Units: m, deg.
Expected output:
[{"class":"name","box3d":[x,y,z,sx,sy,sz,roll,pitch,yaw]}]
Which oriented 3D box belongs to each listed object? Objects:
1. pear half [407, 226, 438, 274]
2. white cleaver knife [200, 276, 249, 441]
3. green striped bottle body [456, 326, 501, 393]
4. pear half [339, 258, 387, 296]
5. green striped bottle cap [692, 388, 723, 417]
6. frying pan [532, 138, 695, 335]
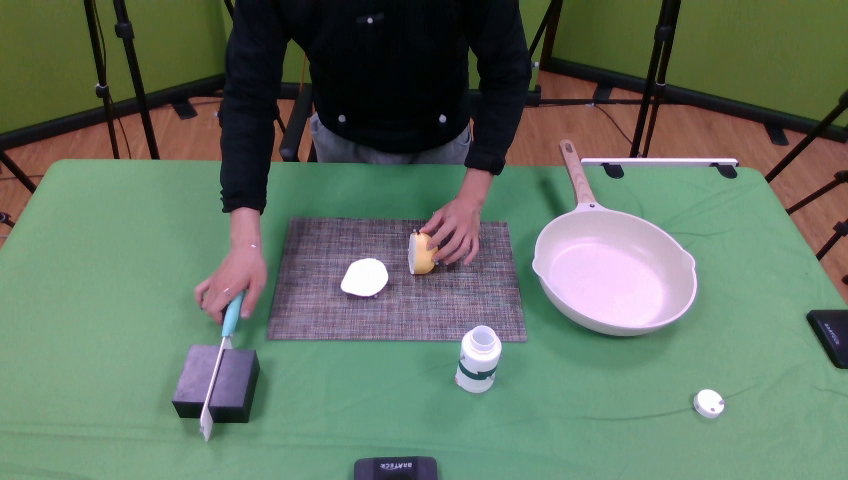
[{"class":"pear half","box3d":[-0.001,0.012,1.120,0.056,0.110,0.076,-8,52,-13]},{"class":"white cleaver knife","box3d":[-0.321,0.177,0.972,0.021,0.066,0.284,7,48,-5]},{"class":"green striped bottle body","box3d":[0.086,0.186,0.959,0.063,0.120,0.063,2,47,-2]},{"class":"pear half","box3d":[-0.112,0.073,1.106,0.088,0.031,0.070,-25,68,-11]},{"class":"green striped bottle cap","box3d":[0.460,0.263,0.984,0.044,0.020,0.044,3,46,-3]},{"class":"frying pan","box3d":[0.336,-0.024,1.190,0.307,0.103,0.484,-2,55,-7]}]
